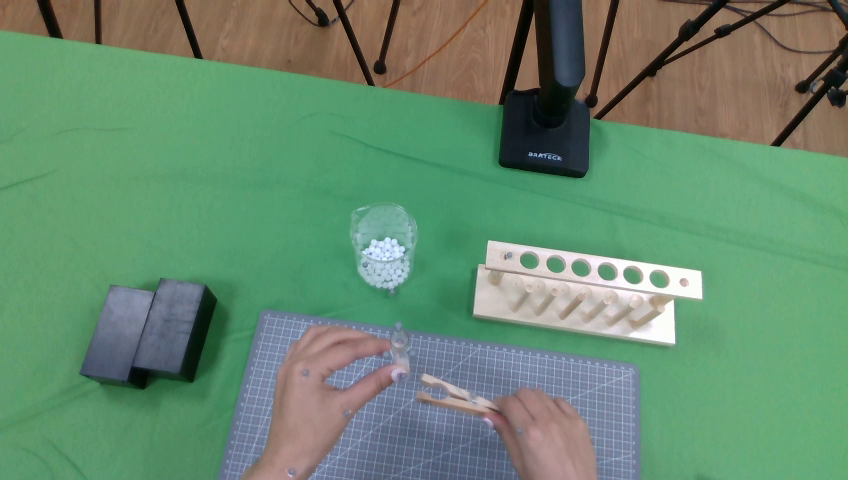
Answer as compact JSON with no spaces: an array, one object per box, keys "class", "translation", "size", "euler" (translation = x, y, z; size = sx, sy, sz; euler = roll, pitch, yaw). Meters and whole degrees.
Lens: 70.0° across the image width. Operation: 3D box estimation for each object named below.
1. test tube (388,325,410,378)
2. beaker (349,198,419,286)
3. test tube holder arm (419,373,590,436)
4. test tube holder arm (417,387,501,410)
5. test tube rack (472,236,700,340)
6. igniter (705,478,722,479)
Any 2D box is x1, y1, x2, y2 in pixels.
[{"class":"test tube","translation":[-0.021,0.101,0.528],"size":[0.017,0.151,0.017],"euler":[1,67,-1]},{"class":"beaker","translation":[-0.049,0.005,0.705],"size":[0.083,0.101,0.074],"euler":[35,68,12]},{"class":"test tube holder arm","translation":[0.081,0.168,0.620],"size":[0.178,0.015,0.013],"euler":[15,72,8]},{"class":"test tube holder arm","translation":[0.036,0.163,0.624],"size":[0.088,0.015,0.010],"euler":[7,70,5]},{"class":"test tube rack","translation":[0.184,0.058,0.707],"size":[0.242,0.086,0.066],"euler":[8,66,-1]},{"class":"igniter","translation":[0.292,0.385,0.609],"size":[0.057,0.025,0.275],"euler":[18,67,-7]}]
